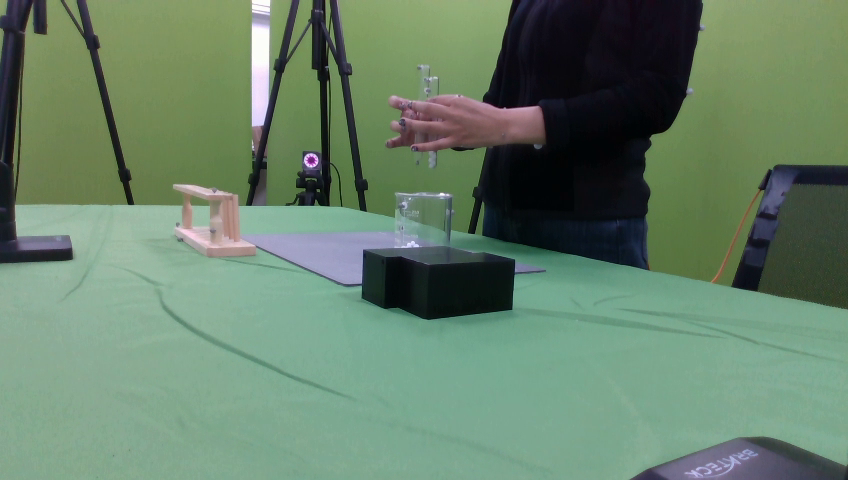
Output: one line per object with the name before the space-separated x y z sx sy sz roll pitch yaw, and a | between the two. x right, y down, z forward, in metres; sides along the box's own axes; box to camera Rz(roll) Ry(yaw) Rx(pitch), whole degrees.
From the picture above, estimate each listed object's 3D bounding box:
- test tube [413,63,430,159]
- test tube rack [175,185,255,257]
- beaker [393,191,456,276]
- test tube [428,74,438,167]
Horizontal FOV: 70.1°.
test tube | -0.004 -0.206 0.969 0.017 0.150 0.017 5 9 0
test tube rack | -0.324 -0.035 0.922 0.067 0.085 0.241 -2 9 -31
beaker | -0.003 -0.010 0.749 0.074 0.100 0.083 -3 8 -40
test tube | 0.015 -0.196 0.997 0.017 0.150 0.017 1 11 0
